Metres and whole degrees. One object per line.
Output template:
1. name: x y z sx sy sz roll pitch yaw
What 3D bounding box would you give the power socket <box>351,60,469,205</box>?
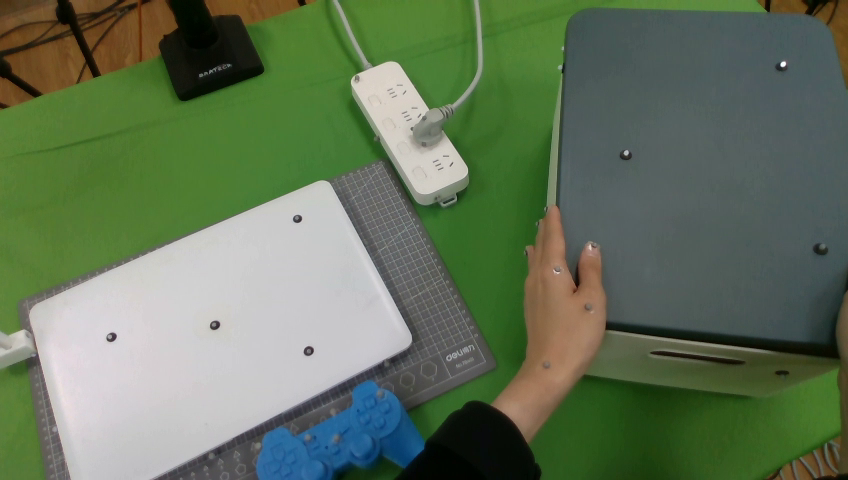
1. power socket: -0.021 -0.139 0.757 0.072 0.033 0.224 -25 64 -12

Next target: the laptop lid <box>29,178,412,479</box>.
1. laptop lid: -0.217 0.089 0.640 0.357 0.013 0.239 -24 67 -10

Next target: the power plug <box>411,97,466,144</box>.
1. power plug: 0.020 -0.137 0.729 0.072 0.053 0.035 -14 62 -7

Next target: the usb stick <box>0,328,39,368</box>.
1. usb stick: -0.425 0.111 0.635 0.059 0.027 0.021 -22 59 -12

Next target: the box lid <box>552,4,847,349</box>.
1. box lid: 0.255 -0.085 0.549 0.263 0.015 0.368 5 61 7

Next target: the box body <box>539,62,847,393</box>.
1. box body: 0.256 -0.041 0.625 0.254 0.161 0.361 6 63 5

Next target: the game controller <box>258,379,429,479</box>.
1. game controller: -0.081 0.200 0.576 0.155 0.052 0.096 -25 62 -11

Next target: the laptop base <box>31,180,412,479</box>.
1. laptop base: -0.218 0.093 0.652 0.354 0.023 0.233 -26 68 -11
